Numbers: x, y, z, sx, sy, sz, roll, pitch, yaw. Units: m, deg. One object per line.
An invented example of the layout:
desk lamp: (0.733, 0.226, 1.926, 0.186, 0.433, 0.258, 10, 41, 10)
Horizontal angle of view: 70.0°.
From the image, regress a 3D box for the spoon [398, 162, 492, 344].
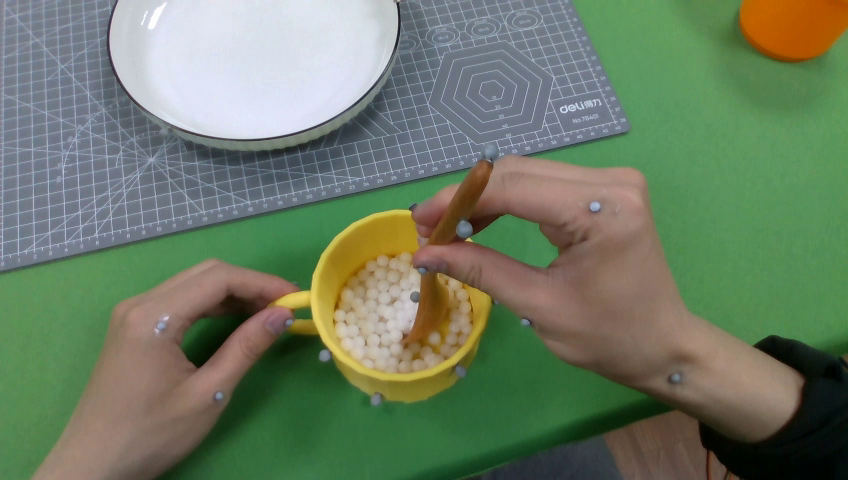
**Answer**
spoon: (0.005, 0.015, 0.294, 0.021, 0.195, 0.041, 34, 67, 11)

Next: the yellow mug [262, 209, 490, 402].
yellow mug: (-0.029, 0.041, 0.356, 0.131, 0.064, 0.099, -5, 66, -3)

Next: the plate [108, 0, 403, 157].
plate: (-0.119, -0.146, 0.449, 0.208, 0.039, 0.206, 1, 66, -1)
